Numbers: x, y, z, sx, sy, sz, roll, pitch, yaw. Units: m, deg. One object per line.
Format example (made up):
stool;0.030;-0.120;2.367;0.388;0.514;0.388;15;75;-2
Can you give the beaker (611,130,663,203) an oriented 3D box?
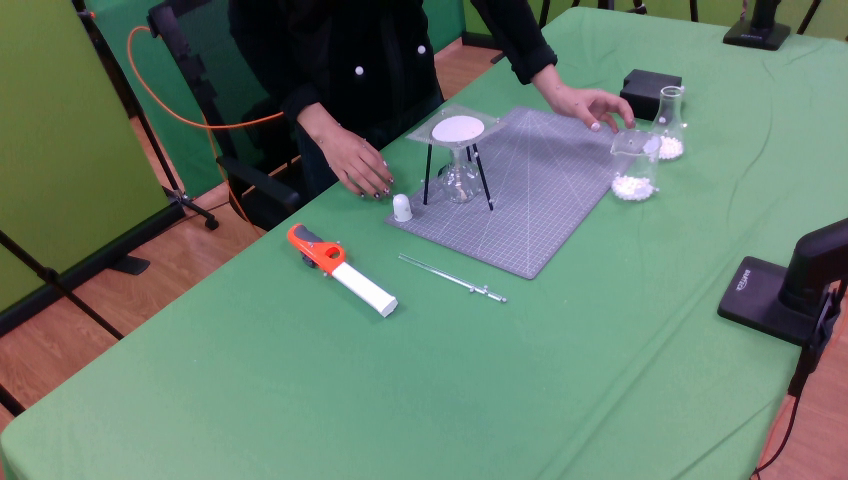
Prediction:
beaker;0.346;-0.118;0.998;0.084;0.101;0.073;-17;40;-7

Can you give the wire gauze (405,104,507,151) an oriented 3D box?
wire gauze;0.053;-0.184;0.996;0.120;0.011;0.125;26;50;37

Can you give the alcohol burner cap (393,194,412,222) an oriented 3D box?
alcohol burner cap;-0.039;-0.057;1.038;0.034;0.048;0.033;-5;40;5

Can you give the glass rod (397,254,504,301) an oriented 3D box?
glass rod;0.036;0.054;0.922;0.198;0.008;0.008;22;50;31

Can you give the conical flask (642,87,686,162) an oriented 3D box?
conical flask;0.429;-0.206;1.067;0.075;0.122;0.075;-6;40;5

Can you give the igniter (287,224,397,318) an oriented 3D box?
igniter;-0.139;0.042;0.957;0.057;0.025;0.274;-41;49;-18

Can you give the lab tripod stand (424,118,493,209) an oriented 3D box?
lab tripod stand;0.061;-0.133;1.038;0.148;0.132;0.147;-6;39;6

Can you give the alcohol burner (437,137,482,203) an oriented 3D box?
alcohol burner;0.060;-0.125;1.045;0.078;0.119;0.077;-5;39;4
